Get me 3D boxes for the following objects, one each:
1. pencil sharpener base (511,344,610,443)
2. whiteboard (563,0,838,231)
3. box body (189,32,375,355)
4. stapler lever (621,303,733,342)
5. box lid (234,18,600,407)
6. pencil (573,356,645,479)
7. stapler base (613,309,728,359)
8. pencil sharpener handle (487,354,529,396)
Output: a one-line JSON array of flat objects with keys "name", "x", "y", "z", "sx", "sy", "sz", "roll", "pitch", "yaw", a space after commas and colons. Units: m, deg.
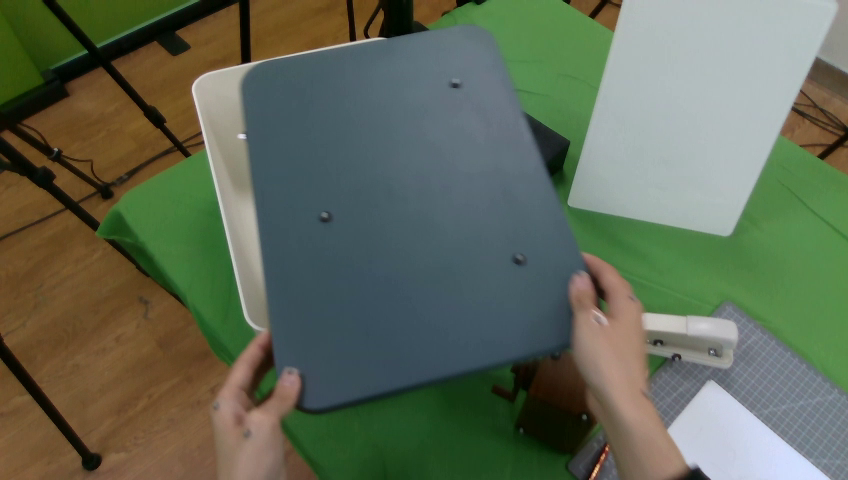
[{"name": "pencil sharpener base", "x": 0.134, "y": 0.153, "z": 0.621, "sx": 0.076, "sy": 0.108, "sz": 0.061, "roll": 22, "pitch": 59, "yaw": 14}, {"name": "whiteboard", "x": 0.324, "y": -0.192, "z": 0.774, "sx": 0.217, "sy": 0.308, "sz": 0.143, "roll": 12, "pitch": 38, "yaw": 7}, {"name": "box body", "x": -0.099, "y": -0.051, "z": 0.715, "sx": 0.254, "sy": 0.162, "sz": 0.360, "roll": -17, "pitch": 59, "yaw": -12}, {"name": "stapler lever", "x": 0.287, "y": 0.091, "z": 0.686, "sx": 0.118, "sy": 0.040, "sz": 0.026, "roll": 10, "pitch": 53, "yaw": 9}, {"name": "box lid", "x": -0.024, "y": -0.055, "z": 0.547, "sx": 0.263, "sy": 0.015, "sz": 0.368, "roll": -13, "pitch": 63, "yaw": -7}, {"name": "pencil", "x": 0.198, "y": 0.198, "z": 0.650, "sx": 0.012, "sy": 0.012, "sz": 0.193, "roll": 30, "pitch": 61, "yaw": 18}, {"name": "stapler base", "x": 0.289, "y": 0.106, "z": 0.706, "sx": 0.130, "sy": 0.024, "sz": 0.041, "roll": 10, "pitch": 53, "yaw": 9}, {"name": "pencil sharpener handle", "x": 0.085, "y": 0.132, "z": 0.618, "sx": 0.030, "sy": 0.068, "sz": 0.036, "roll": 22, "pitch": 37, "yaw": 14}]
